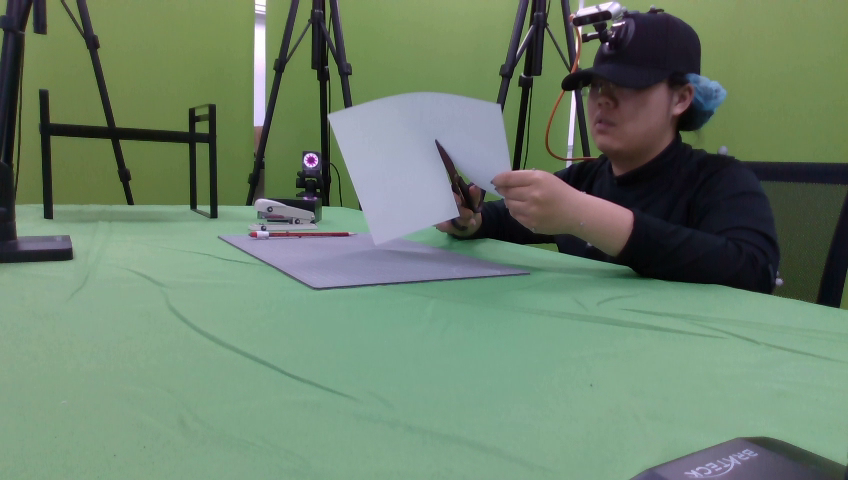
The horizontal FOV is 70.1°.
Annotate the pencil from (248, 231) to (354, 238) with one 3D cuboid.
[{"bbox_3d":[-0.206,-0.009,1.039,0.195,0.012,0.012,0,8,-36],"label":"pencil"}]

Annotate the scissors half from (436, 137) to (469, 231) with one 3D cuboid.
[{"bbox_3d":[0.042,-0.085,0.956,0.013,0.175,0.040,13,43,37],"label":"scissors half"}]

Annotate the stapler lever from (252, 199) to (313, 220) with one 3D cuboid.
[{"bbox_3d":[-0.273,-0.058,1.170,0.119,0.040,0.026,0,10,-37],"label":"stapler lever"}]

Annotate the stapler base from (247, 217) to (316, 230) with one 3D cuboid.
[{"bbox_3d":[-0.276,-0.033,1.172,0.131,0.024,0.041,0,10,-37],"label":"stapler base"}]

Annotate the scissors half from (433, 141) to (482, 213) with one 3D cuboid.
[{"bbox_3d":[0.054,-0.101,0.965,0.012,0.040,0.176,18,-19,40],"label":"scissors half"}]
